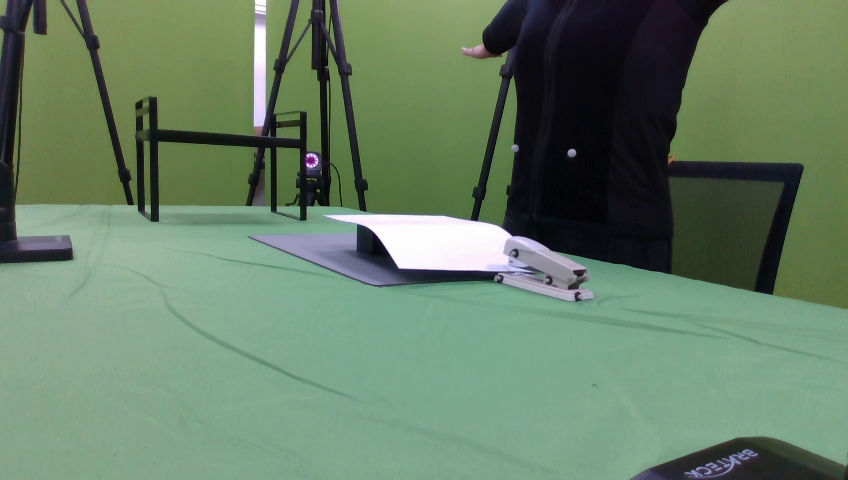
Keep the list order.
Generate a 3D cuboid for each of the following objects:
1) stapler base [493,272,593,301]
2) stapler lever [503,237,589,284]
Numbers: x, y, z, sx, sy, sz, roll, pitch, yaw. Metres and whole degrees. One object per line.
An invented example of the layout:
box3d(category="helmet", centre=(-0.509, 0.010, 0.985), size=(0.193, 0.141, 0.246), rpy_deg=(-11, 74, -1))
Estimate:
box3d(category="stapler base", centre=(0.133, 0.046, 0.696), size=(0.041, 0.024, 0.130), rpy_deg=(-2, 9, -35))
box3d(category="stapler lever", centre=(0.137, 0.022, 0.693), size=(0.027, 0.040, 0.117), rpy_deg=(-2, 9, -35))
